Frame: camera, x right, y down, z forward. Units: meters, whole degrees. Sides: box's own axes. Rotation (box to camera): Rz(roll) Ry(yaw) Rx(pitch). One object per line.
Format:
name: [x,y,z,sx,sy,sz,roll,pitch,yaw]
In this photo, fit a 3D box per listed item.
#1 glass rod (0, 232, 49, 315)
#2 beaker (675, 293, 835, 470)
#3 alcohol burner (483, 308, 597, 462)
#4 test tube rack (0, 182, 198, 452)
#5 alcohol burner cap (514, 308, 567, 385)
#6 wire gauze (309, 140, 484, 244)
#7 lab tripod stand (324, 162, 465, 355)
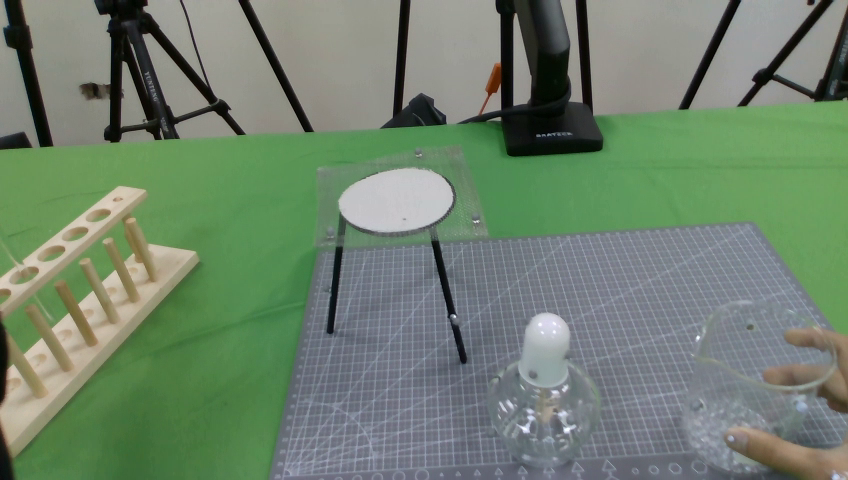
glass rod: [-0.335,-0.021,0.459,0.008,0.201,0.008,-7,32,5]
beaker: [0.208,0.097,0.400,0.084,0.101,0.073,-6,38,0]
alcohol burner: [0.078,0.093,0.407,0.078,0.120,0.077,-3,36,3]
test tube rack: [-0.308,0.052,0.529,0.066,0.086,0.241,9,40,17]
alcohol burner cap: [0.075,0.065,0.385,0.034,0.048,0.033,-1,36,1]
wire gauze: [-0.026,-0.038,0.460,0.125,0.011,0.120,-8,38,-2]
lab tripod stand: [-0.021,0.015,0.501,0.148,0.133,0.147,-3,40,3]
